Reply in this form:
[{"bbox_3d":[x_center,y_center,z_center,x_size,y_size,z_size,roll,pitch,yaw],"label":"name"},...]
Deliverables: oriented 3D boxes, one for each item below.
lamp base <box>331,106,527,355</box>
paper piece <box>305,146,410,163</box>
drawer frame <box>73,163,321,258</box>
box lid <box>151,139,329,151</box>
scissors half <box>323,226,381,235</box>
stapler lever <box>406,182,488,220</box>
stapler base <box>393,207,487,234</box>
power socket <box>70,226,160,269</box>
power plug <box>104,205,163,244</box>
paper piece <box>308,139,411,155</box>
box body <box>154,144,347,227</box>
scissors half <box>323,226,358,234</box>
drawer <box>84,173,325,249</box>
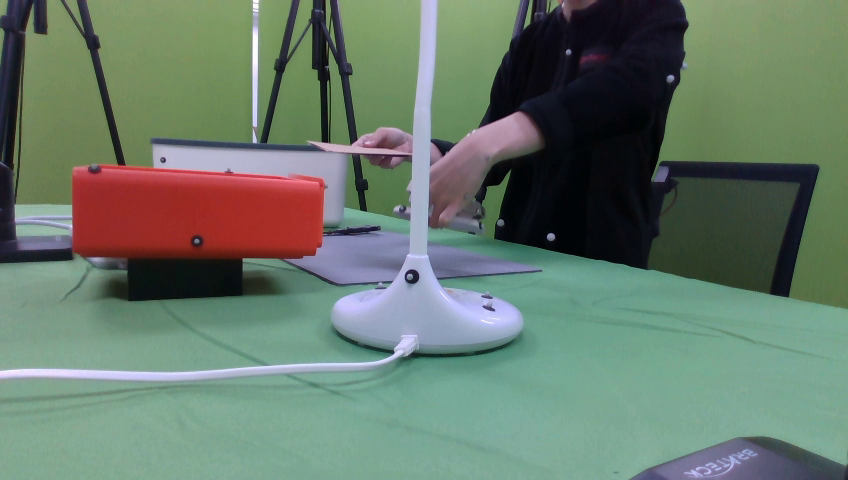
[{"bbox_3d":[0.006,-0.012,0.478,0.161,0.180,0.179,2,10,2],"label":"lamp base"},{"bbox_3d":[-0.103,-0.132,0.923,0.136,0.004,0.135,2,14,-21],"label":"paper piece"},{"bbox_3d":[-0.232,-0.034,0.635,0.214,0.082,0.201,1,8,-23],"label":"drawer frame"},{"bbox_3d":[-0.352,-0.191,1.256,0.373,0.015,0.262,0,8,-18],"label":"box lid"},{"bbox_3d":[-0.153,-0.015,1.079,0.176,0.013,0.040,-7,1,-33],"label":"scissors half"},{"bbox_3d":[0.030,-0.056,0.814,0.117,0.040,0.027,12,-6,25],"label":"stapler lever"},{"bbox_3d":[0.023,-0.033,0.811,0.130,0.024,0.041,12,-6,25],"label":"stapler base"},{"bbox_3d":[-0.409,0.004,0.793,0.072,0.032,0.225,-2,8,-38],"label":"power socket"},{"bbox_3d":[-0.390,-0.021,0.815,0.073,0.052,0.035,-1,7,-27],"label":"power plug"},{"bbox_3d":[-0.094,-0.139,0.917,0.139,0.008,0.135,0,16,-27],"label":"paper piece"},{"bbox_3d":[-0.357,-0.119,1.264,0.365,0.160,0.253,0,7,-18],"label":"box body"},{"bbox_3d":[-0.166,-0.015,1.094,0.040,0.013,0.176,2,6,40],"label":"scissors half"},{"bbox_3d":[-0.227,-0.036,0.638,0.213,0.073,0.193,-1,9,-23],"label":"drawer"}]
